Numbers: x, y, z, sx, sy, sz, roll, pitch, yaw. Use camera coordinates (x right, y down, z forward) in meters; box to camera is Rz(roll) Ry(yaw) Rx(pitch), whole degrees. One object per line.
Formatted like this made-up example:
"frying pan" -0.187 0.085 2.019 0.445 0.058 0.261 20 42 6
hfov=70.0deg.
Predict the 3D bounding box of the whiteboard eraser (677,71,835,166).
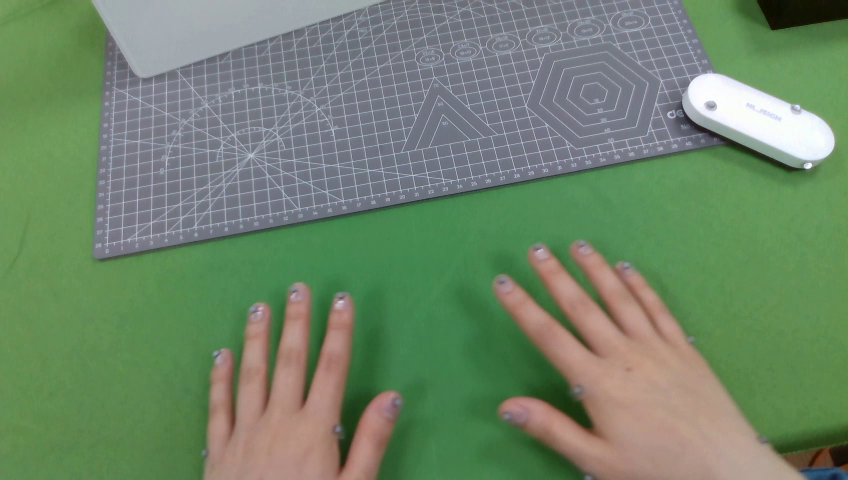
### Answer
"whiteboard eraser" 0.225 -0.083 0.412 0.101 0.019 0.041 28 69 12

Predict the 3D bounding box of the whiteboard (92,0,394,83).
"whiteboard" -0.163 -0.305 0.409 0.217 0.308 0.142 -20 46 -5
